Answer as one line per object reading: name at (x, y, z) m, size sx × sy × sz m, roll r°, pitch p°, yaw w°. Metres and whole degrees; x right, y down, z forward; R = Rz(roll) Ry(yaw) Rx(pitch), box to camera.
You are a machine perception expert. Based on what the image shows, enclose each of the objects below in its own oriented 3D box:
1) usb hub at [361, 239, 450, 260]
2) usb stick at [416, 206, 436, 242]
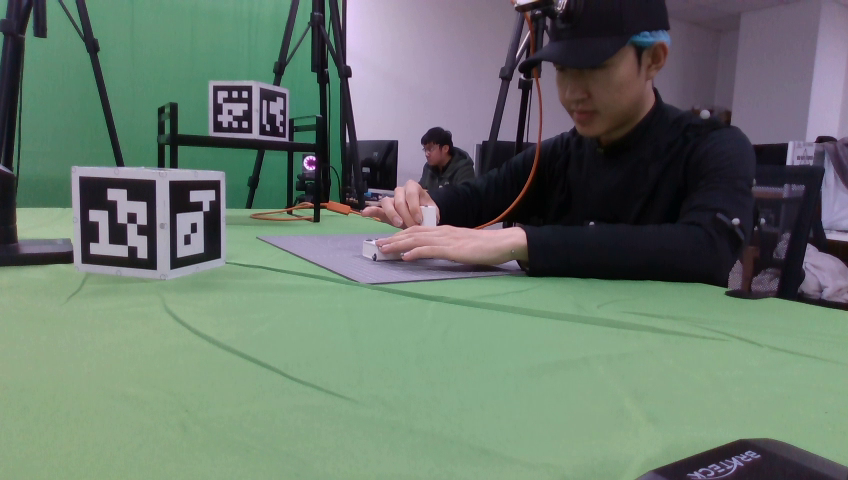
usb hub at (-0.026, 0.013, 0.894) m, size 0.126 × 0.025 × 0.049 m, roll -1°, pitch 7°, yaw -32°
usb stick at (0.004, -0.021, 0.903) m, size 0.021 × 0.059 × 0.027 m, roll -6°, pitch 5°, yaw -33°
